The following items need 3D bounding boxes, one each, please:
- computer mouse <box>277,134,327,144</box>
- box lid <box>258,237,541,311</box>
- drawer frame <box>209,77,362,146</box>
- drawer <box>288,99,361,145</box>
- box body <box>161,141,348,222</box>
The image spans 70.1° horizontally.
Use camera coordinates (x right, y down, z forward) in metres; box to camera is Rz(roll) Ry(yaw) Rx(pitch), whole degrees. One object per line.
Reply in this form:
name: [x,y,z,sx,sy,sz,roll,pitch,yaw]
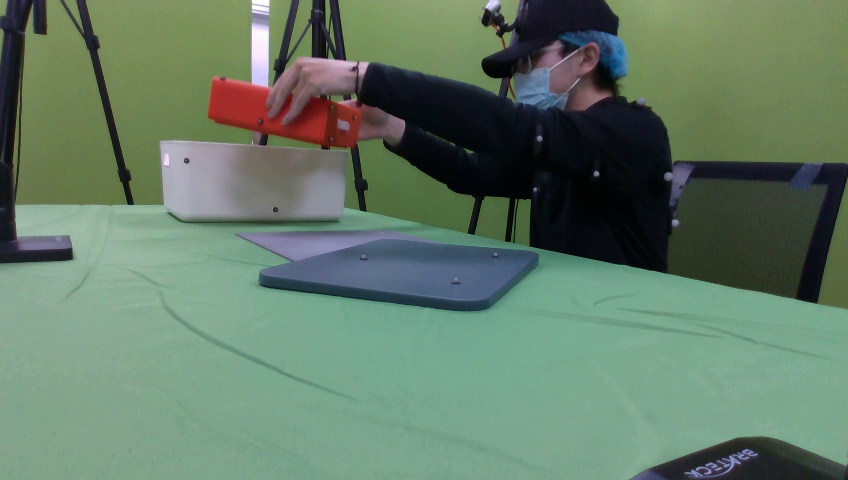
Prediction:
computer mouse: [-0.222,-0.203,1.132,0.062,0.041,0.117,1,0,18]
box lid: [-0.004,0.033,0.773,0.262,0.015,0.372,5,8,19]
drawer frame: [-0.248,-0.234,1.120,0.213,0.082,0.202,11,9,8]
drawer: [-0.244,-0.232,1.120,0.211,0.073,0.195,11,9,9]
box body: [-0.379,-0.132,1.353,0.366,0.160,0.253,-2,8,-30]
